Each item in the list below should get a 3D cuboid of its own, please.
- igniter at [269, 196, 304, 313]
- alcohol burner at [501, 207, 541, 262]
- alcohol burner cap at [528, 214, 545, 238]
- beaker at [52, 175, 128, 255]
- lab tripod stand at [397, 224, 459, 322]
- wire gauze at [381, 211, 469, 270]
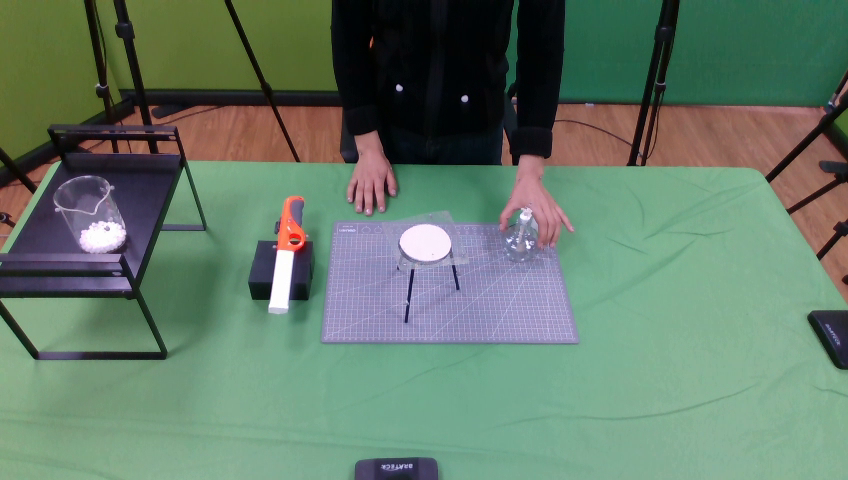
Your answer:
[{"bbox_3d":[-0.249,0.016,1.095,0.057,0.025,0.274,8,46,-13],"label":"igniter"},{"bbox_3d":[0.187,-0.016,1.161,0.078,0.120,0.077,1,44,-1],"label":"alcohol burner"},{"bbox_3d":[0.231,-0.031,1.230,0.034,0.048,0.033,1,43,-1],"label":"alcohol burner cap"},{"bbox_3d":[-0.482,-0.032,0.888,0.074,0.101,0.083,-28,55,-27],"label":"beaker"},{"bbox_3d":[-0.003,0.052,1.067,0.148,0.132,0.147,3,48,-3],"label":"lab tripod stand"},{"bbox_3d":[0.000,0.001,1.023,0.125,0.011,0.120,-9,48,-13],"label":"wire gauze"}]
